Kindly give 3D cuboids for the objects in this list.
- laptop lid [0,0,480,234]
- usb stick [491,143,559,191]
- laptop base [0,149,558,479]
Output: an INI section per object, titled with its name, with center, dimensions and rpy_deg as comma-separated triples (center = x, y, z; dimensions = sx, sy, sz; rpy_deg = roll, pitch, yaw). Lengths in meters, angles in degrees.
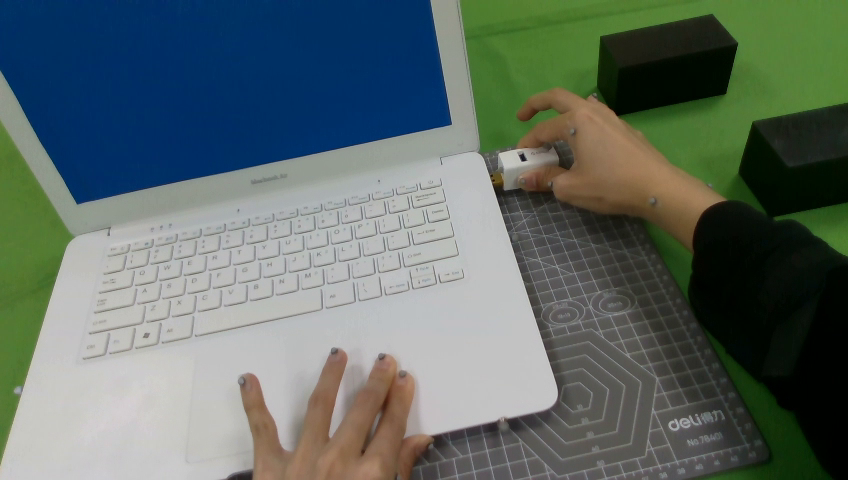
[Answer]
[laptop lid]
center = -0.145, -0.131, 0.448
dimensions = 0.357, 0.244, 0.013
rpy_deg = -13, 34, 1
[usb stick]
center = 0.075, -0.057, 0.480
dimensions = 0.059, 0.027, 0.021
rpy_deg = -14, 48, -2
[laptop base]
center = -0.106, 0.051, 0.436
dimensions = 0.354, 0.023, 0.233
rpy_deg = -12, 52, 0
